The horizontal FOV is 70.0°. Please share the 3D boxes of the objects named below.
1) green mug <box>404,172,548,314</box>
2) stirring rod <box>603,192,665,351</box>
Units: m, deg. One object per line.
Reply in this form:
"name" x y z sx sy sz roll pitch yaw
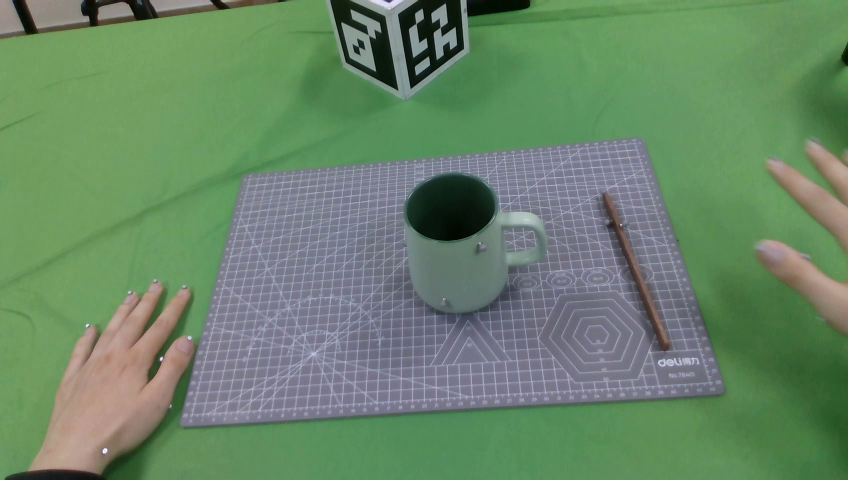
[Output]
"green mug" 0.045 0.003 0.532 0.125 0.106 0.091 -3 52 6
"stirring rod" 0.189 0.022 0.553 0.006 0.014 0.174 -4 51 -2
